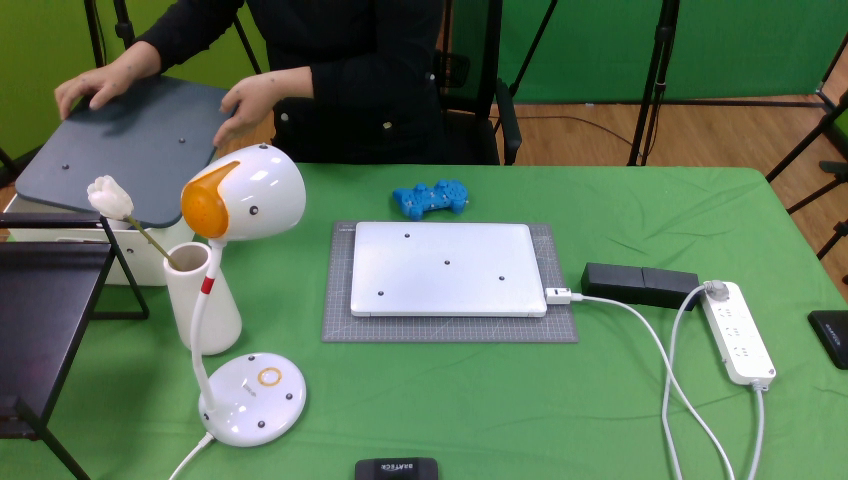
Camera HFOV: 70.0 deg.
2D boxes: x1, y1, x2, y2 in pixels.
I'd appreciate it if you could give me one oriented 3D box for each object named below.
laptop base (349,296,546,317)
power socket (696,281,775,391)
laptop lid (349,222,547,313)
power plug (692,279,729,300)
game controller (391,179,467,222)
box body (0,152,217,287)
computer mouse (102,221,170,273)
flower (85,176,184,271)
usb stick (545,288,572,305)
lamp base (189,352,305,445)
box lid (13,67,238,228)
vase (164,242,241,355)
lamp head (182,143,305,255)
[{"bbox_3d":[0.041,0.055,1.149,0.355,0.023,0.234,1,42,-4],"label":"laptop base"},{"bbox_3d":[0.550,0.160,1.078,0.072,0.033,0.225,2,47,-1],"label":"power socket"},{"bbox_3d":[0.041,0.045,1.143,0.357,0.013,0.240,2,44,-3],"label":"laptop lid"},{"bbox_3d":[0.522,0.091,1.115,0.072,0.053,0.035,9,47,7],"label":"power plug"},{"bbox_3d":[0.016,-0.094,1.273,0.155,0.052,0.096,-11,53,-14],"label":"game controller"},{"bbox_3d":[-0.560,-0.092,1.144,0.254,0.161,0.361,3,46,-2],"label":"box body"},{"bbox_3d":[-0.537,0.009,1.127,0.062,0.041,0.117,31,55,22],"label":"computer mouse"},{"bbox_3d":[-0.365,0.038,0.894,0.038,0.364,0.044,-5,53,14],"label":"flower"},{"bbox_3d":[0.236,0.102,1.101,0.059,0.027,0.021,-2,47,2],"label":"usb stick"},{"bbox_3d":[-0.268,0.196,0.876,0.160,0.181,0.179,26,52,20],"label":"lamp base"},{"bbox_3d":[-0.510,-0.176,1.077,0.263,0.015,0.369,12,49,-5],"label":"box lid"},{"bbox_3d":[-0.349,0.096,0.954,0.098,0.201,0.097,3,47,-3],"label":"vase"},{"bbox_3d":[-0.216,-0.044,0.697,0.112,0.113,0.123,23,31,17],"label":"lamp head"}]
